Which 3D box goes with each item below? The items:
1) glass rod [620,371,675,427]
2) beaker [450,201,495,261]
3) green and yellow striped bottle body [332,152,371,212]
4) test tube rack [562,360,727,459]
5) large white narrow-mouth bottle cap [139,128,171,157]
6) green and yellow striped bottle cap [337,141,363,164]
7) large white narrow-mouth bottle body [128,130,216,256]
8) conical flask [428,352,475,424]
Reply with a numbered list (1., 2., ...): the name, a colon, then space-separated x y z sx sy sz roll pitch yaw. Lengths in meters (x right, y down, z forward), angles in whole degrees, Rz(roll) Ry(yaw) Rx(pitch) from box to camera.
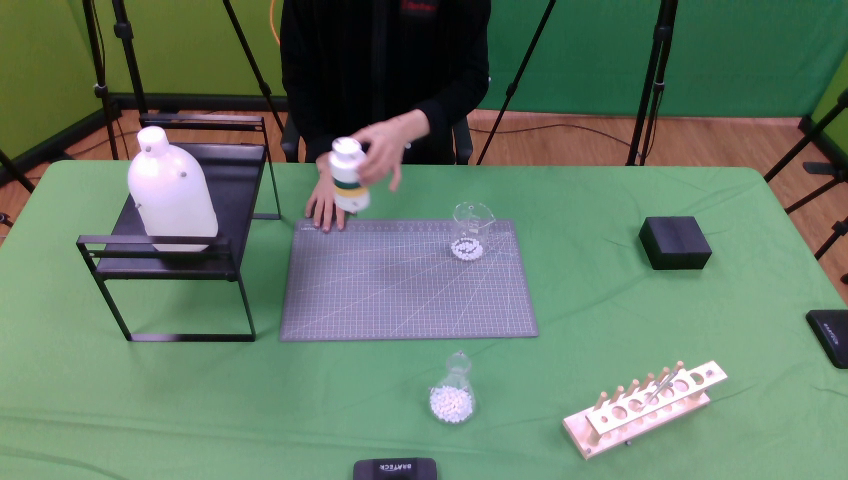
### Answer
1. glass rod: 0.316 0.230 0.863 0.008 0.200 0.008 3 54 -3
2. beaker: 0.089 -0.014 1.160 0.084 0.101 0.073 9 47 4
3. green and yellow striped bottle body: -0.126 -0.112 1.060 0.063 0.120 0.063 1 44 -1
4. test tube rack: 0.341 0.247 0.940 0.243 0.085 0.066 -16 49 -18
5. large white narrow-mouth bottle cap: -0.359 -0.131 0.808 0.038 0.024 0.037 3 47 -3
6. green and yellow striped bottle cap: -0.125 -0.149 1.023 0.045 0.020 0.045 0 42 0
7. large white narrow-mouth bottle body: -0.366 -0.072 0.871 0.102 0.195 0.101 3 47 -3
8. conical flask: 0.046 0.220 0.920 0.075 0.122 0.075 2 46 -2
